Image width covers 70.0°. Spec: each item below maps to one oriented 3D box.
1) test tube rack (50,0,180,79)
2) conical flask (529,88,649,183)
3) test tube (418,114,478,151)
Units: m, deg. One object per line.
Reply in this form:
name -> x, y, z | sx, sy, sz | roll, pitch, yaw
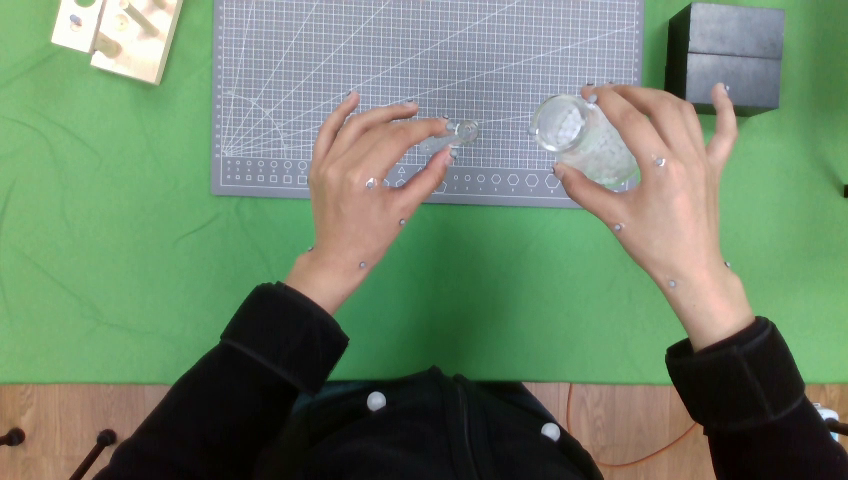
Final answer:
test tube rack -> -0.267, -0.287, 0.571 | 0.067, 0.085, 0.242 | 16, 91, -5
conical flask -> 0.115, -0.081, 0.438 | 0.075, 0.122, 0.075 | 2, 94, 29
test tube -> 0.015, -0.082, 0.474 | 0.017, 0.149, 0.017 | -1, 95, -11
